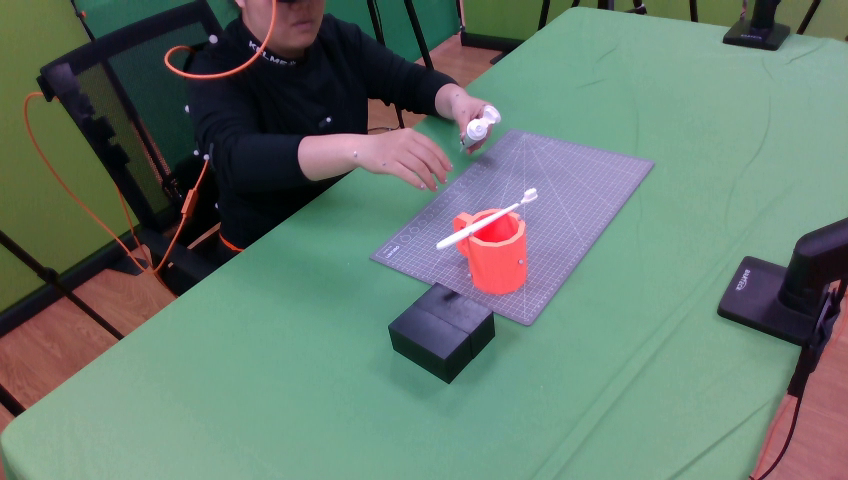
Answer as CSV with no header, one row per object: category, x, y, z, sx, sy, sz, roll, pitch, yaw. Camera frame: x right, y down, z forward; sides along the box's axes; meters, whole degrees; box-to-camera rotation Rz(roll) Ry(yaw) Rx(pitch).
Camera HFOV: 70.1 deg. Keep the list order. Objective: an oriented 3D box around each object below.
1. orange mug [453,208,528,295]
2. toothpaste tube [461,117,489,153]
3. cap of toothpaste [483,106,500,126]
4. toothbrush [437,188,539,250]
orange mug,0.095,0.009,0.894,0.125,0.101,0.084,32,55,33
toothpaste tube,0.088,-0.190,1.076,0.034,0.165,0.055,34,88,-3
cap of toothpaste,0.110,-0.201,0.989,0.011,0.037,0.037,-34,45,-17
toothbrush,0.093,-0.031,0.860,0.182,0.017,0.014,-28,51,-21
